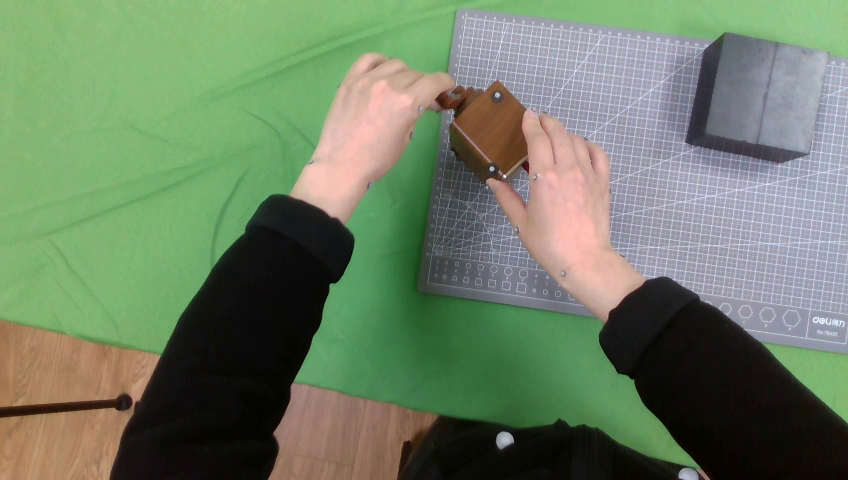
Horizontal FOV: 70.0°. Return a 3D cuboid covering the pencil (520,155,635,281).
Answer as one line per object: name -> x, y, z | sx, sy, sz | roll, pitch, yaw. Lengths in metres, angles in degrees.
pencil -> 0.125, -0.036, 0.552 | 0.012, 0.012, 0.194 | -42, 92, 1

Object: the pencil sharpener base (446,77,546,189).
pencil sharpener base -> 0.064, -0.100, 0.580 | 0.061, 0.107, 0.076 | -43, 87, 1

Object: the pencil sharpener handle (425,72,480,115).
pencil sharpener handle -> 0.023, -0.135, 0.540 | 0.030, 0.068, 0.036 | 47, 111, 3
